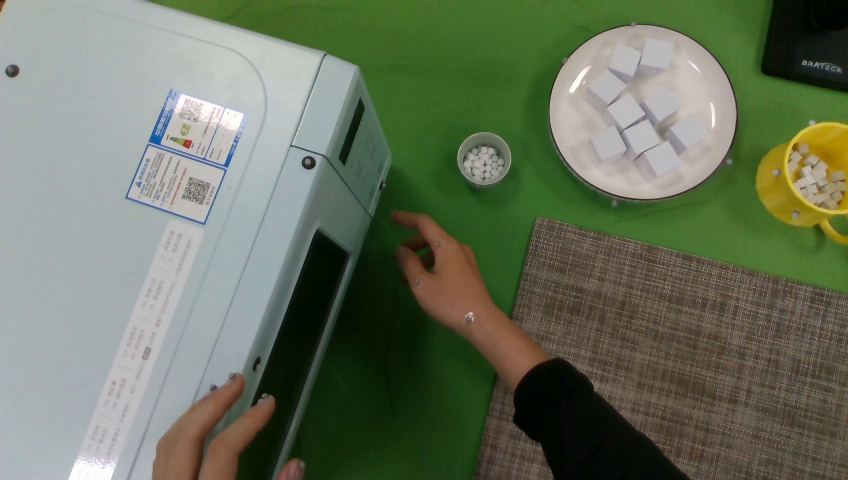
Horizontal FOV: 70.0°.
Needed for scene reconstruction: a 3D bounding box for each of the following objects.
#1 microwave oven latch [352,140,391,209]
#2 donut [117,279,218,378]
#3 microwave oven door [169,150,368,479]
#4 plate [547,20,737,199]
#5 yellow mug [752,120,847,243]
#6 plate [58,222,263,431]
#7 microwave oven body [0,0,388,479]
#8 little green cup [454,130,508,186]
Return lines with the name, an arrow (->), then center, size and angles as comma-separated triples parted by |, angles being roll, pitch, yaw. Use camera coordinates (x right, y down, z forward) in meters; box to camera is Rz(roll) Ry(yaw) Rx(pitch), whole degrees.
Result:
microwave oven latch -> -0.062, -0.076, 0.678 | 0.030, 0.029, 0.079 | 22, 84, 6
donut -> -0.255, 0.087, 0.606 | 0.099, 0.048, 0.099 | 0, 85, 0
microwave oven door -> -0.140, 0.115, 0.552 | 0.039, 0.244, 0.355 | 17, 83, 6
plate -> 0.244, -0.145, 0.691 | 0.207, 0.039, 0.207 | 0, 82, 3
yellow mug -> 0.428, -0.058, 0.655 | 0.100, 0.064, 0.130 | -22, 82, 0
plate -> -0.265, 0.088, 0.622 | 0.209, 0.038, 0.208 | 0, 82, 3
microwave oven body -> -0.264, 0.031, 0.576 | 0.325, 0.261, 0.440 | 18, 84, 5
little green cup -> 0.065, -0.091, 0.691 | 0.061, 0.039, 0.061 | 0, 85, 5
